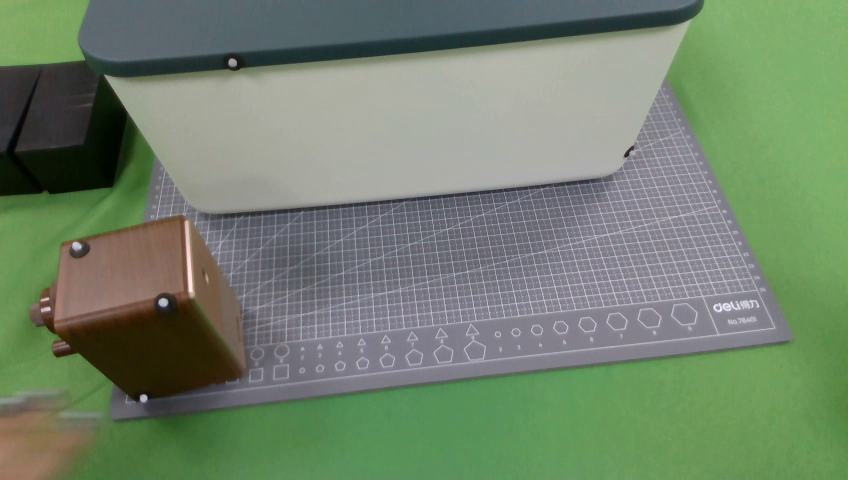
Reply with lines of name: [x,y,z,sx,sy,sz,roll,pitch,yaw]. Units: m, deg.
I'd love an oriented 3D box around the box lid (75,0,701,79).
box lid: [-0.029,-0.212,0.413,0.372,0.015,0.260,-6,55,-3]

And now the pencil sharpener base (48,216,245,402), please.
pencil sharpener base: [-0.160,0.046,0.362,0.077,0.108,0.060,-14,57,-7]

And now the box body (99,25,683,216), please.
box body: [-0.025,-0.169,0.475,0.364,0.162,0.251,-6,56,-3]

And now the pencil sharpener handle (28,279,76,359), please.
pencil sharpener handle: [-0.210,0.050,0.345,0.031,0.068,0.035,-14,59,-7]
